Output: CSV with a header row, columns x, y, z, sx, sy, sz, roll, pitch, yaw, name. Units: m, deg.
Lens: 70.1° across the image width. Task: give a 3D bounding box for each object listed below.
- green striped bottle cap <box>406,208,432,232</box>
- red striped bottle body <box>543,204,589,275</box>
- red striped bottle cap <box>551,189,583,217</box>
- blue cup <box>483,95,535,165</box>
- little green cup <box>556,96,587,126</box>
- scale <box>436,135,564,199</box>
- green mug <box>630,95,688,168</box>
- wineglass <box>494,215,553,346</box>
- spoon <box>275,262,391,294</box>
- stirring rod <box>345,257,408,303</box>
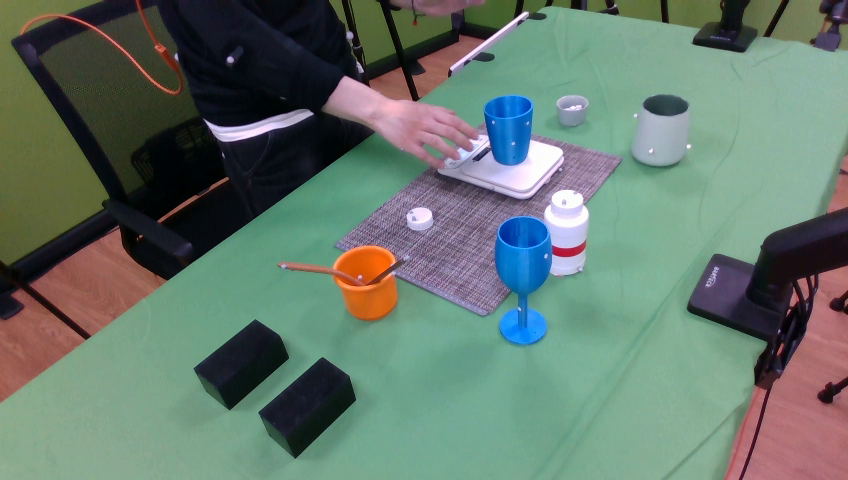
x,y,z,sx,sy,sz,roll,pitch,yaw,name
-0.009,-0.034,1.011,0.044,0.020,0.044,0,41,1,green striped bottle cap
0.206,-0.011,0.877,0.063,0.120,0.062,-5,41,4,red striped bottle body
0.199,-0.052,0.843,0.044,0.018,0.044,-2,42,2,red striped bottle cap
0.148,-0.188,1.052,0.092,0.100,0.092,-5,39,5,blue cup
0.295,-0.258,1.214,0.061,0.039,0.061,-4,42,4,little green cup
0.137,-0.141,1.101,0.199,0.032,0.149,22,48,30,scale
0.421,-0.201,1.081,0.092,0.105,0.125,5,42,15,green mug
0.127,0.055,0.770,0.074,0.173,0.073,-4,40,4,wineglass
-0.120,0.050,0.830,0.041,0.195,0.021,31,97,45,spoon
-0.067,0.056,0.814,0.014,0.175,0.006,-22,81,-38,stirring rod
